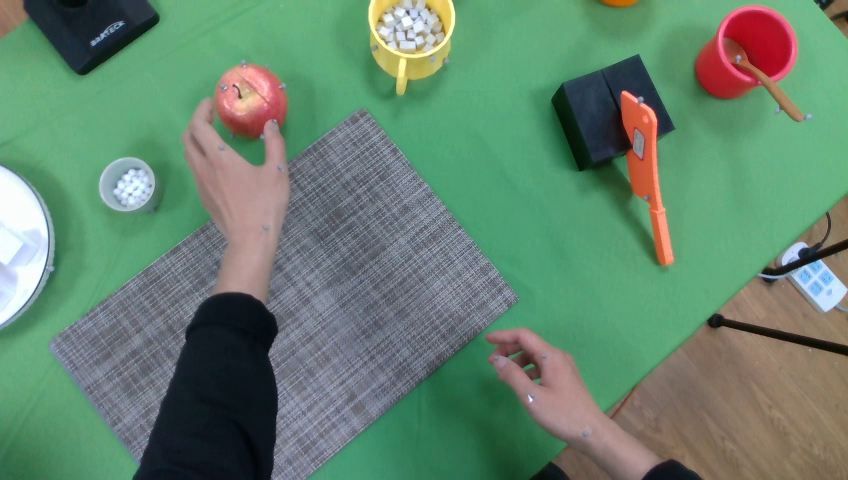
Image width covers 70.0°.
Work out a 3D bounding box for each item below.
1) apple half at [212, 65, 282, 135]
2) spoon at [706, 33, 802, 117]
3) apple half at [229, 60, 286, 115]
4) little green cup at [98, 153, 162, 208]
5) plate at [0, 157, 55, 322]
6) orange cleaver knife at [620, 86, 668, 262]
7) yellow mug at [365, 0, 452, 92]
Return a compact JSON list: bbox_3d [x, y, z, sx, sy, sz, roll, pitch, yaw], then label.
[{"bbox_3d":[-0.209,-0.152,0.695,0.081,0.074,0.053,43,88,-1],"label":"apple half"},{"bbox_3d":[0.380,-0.194,0.701,0.041,0.022,0.191,-4,39,-3],"label":"spoon"},{"bbox_3d":[-0.183,-0.181,0.698,0.081,0.081,0.033,42,88,2],"label":"apple half"},{"bbox_3d":[-0.333,-0.065,0.694,0.061,0.038,0.061,0,83,-3],"label":"little green cup"},{"bbox_3d":[-0.515,0.003,0.675,0.208,0.039,0.207,0,83,-3],"label":"plate"},{"bbox_3d":[0.257,-0.075,0.711,0.012,0.076,0.213,-19,115,-2],"label":"orange cleaver knife"},{"bbox_3d":[-0.022,-0.240,0.719,0.100,0.064,0.130,9,84,-2],"label":"yellow mug"}]
